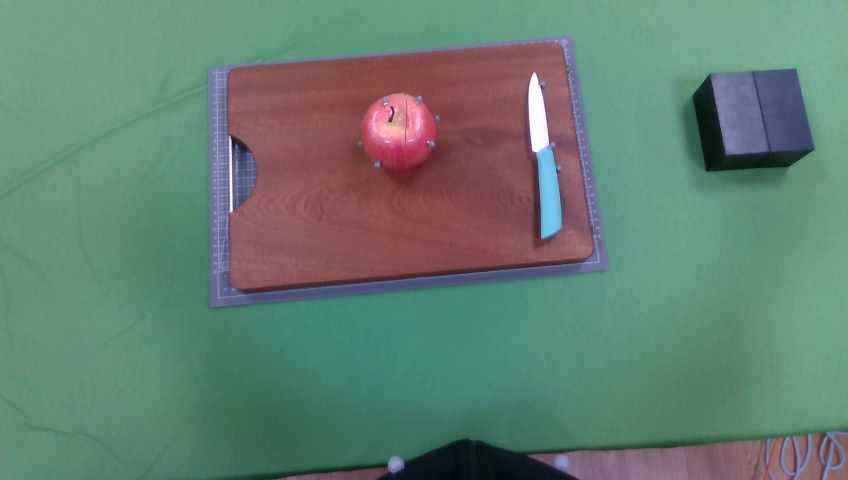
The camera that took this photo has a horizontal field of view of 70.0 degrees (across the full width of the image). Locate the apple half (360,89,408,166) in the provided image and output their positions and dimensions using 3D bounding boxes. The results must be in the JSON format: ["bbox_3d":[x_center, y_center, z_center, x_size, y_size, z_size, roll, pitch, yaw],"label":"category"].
[{"bbox_3d":[-0.043,-0.121,0.660,0.053,0.075,0.080,-1,79,5],"label":"apple half"}]

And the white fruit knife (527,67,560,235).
[{"bbox_3d":[0.133,-0.105,0.685,0.027,0.016,0.206,1,75,-13],"label":"white fruit knife"}]

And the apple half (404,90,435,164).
[{"bbox_3d":[-0.004,-0.121,0.658,0.033,0.081,0.081,0,76,3],"label":"apple half"}]
